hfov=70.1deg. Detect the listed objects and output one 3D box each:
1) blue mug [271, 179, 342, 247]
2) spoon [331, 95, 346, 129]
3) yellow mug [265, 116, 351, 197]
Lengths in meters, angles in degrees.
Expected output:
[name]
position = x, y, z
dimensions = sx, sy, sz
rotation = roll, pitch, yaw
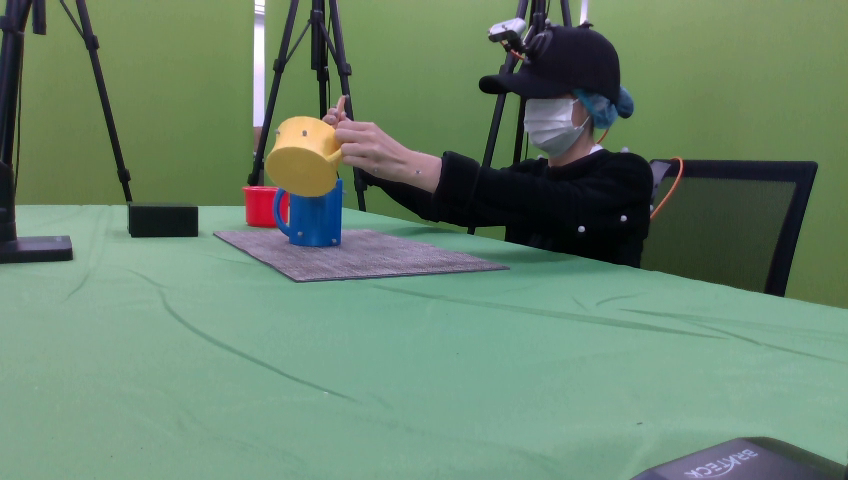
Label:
[blue mug]
position = -0.190, -0.047, 0.963
dimensions = 0.116, 0.106, 0.082
rotation = 4, 7, 13
[spoon]
position = -0.159, -0.178, 1.003
dimensions = 0.041, 0.022, 0.193
rotation = -16, 40, 31
[yellow mug]
position = -0.156, -0.123, 0.861
dimensions = 0.130, 0.064, 0.100
rotation = -15, -43, 27
